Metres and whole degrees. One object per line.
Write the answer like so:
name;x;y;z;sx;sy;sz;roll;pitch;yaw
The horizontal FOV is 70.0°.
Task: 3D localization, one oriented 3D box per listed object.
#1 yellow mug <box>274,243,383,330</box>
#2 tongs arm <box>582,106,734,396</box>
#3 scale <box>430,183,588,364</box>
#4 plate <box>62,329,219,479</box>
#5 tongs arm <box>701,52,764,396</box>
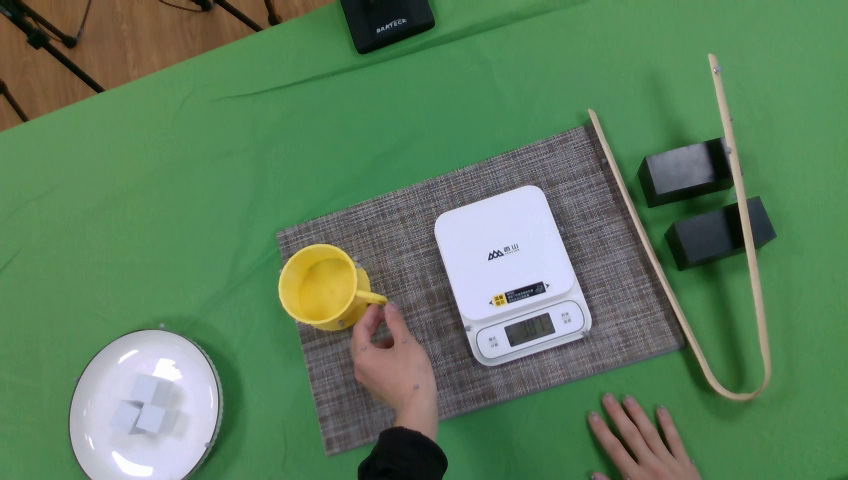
yellow mug;-0.114;0.062;0.757;0.130;0.064;0.099;10;78;11
tongs arm;0.271;0.002;0.729;0.028;0.028;0.385;-28;71;27
scale;0.101;0.039;0.745;0.148;0.032;0.199;-19;74;5
plate;-0.357;0.220;0.776;0.207;0.039;0.206;-2;76;8
tongs arm;0.334;-0.022;0.683;0.050;0.027;0.383;-14;79;33
